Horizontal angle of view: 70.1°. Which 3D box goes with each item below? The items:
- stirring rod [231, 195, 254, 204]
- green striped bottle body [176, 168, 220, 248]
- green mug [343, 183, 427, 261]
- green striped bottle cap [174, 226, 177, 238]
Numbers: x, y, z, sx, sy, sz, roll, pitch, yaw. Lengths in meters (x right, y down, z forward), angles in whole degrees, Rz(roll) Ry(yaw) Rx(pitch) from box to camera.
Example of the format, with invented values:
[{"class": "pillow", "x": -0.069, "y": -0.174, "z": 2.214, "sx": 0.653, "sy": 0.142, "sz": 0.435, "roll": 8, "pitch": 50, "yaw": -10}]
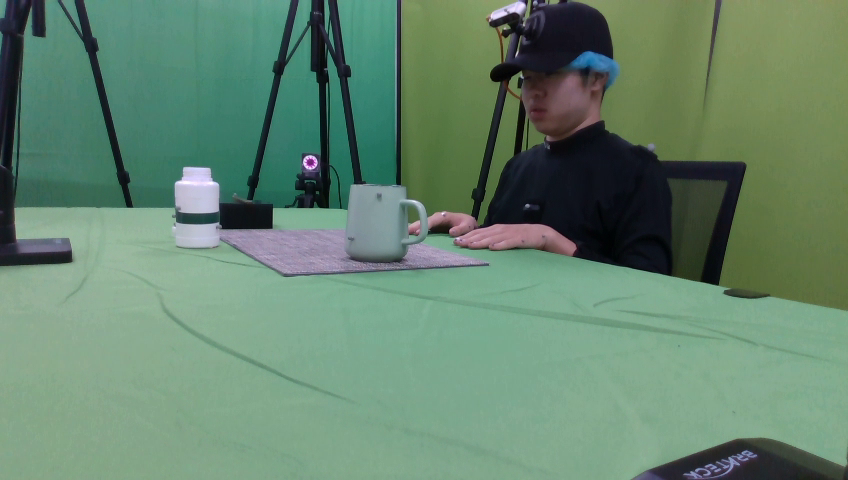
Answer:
[{"class": "stirring rod", "x": -0.372, "y": -0.084, "z": 1.235, "sx": 0.014, "sy": 0.006, "sz": 0.175, "roll": -1, "pitch": 8, "yaw": -28}, {"class": "green striped bottle body", "x": -0.345, "y": -0.050, "z": 0.924, "sx": 0.063, "sy": 0.119, "sz": 0.063, "roll": 2, "pitch": 7, "yaw": 0}, {"class": "green mug", "x": -0.053, "y": -0.026, "z": 0.847, "sx": 0.125, "sy": 0.105, "sz": 0.093, "roll": 6, "pitch": 8, "yaw": 27}, {"class": "green striped bottle cap", "x": -0.404, "y": -0.015, "z": 1.036, "sx": 0.044, "sy": 0.020, "sz": 0.044, "roll": -1, "pitch": 9, "yaw": 1}]
